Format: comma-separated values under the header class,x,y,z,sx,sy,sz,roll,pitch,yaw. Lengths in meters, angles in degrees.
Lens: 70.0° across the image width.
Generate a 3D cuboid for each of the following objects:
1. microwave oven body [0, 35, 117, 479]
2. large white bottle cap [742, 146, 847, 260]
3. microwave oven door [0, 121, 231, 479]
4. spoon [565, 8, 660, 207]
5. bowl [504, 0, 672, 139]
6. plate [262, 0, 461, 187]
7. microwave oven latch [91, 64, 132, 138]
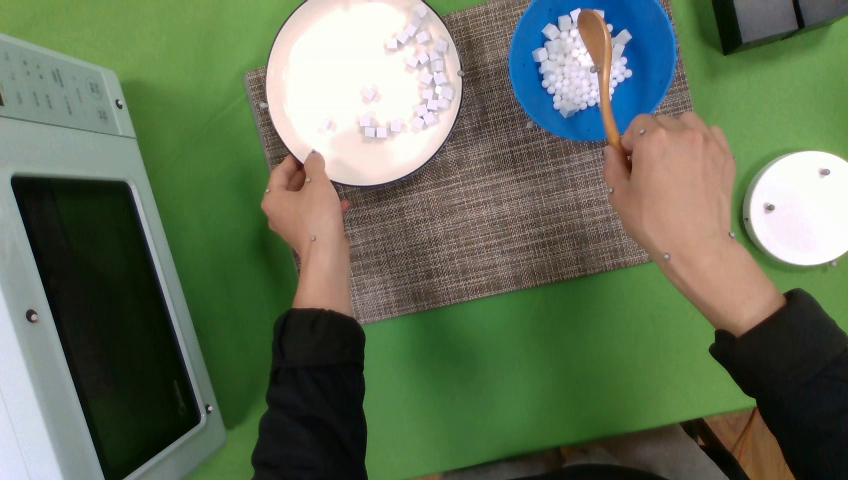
class,x,y,z,sx,sy,sz,roll,pitch,yaw
microwave oven body,-0.450,0.070,0.590,0.326,0.260,0.442,-16,93,7
large white bottle cap,0.381,-0.037,0.607,0.115,0.018,0.115,0,95,5
microwave oven door,-0.299,0.071,0.568,0.039,0.244,0.356,-16,93,8
spoon,0.164,-0.116,0.528,0.022,0.041,0.192,-4,72,-33
bowl,0.153,-0.170,0.589,0.151,0.077,0.151,1,95,7
plate,-0.064,-0.159,0.636,0.209,0.038,0.209,0,95,7
microwave oven latch,-0.346,-0.147,0.656,0.030,0.029,0.079,-16,94,7
